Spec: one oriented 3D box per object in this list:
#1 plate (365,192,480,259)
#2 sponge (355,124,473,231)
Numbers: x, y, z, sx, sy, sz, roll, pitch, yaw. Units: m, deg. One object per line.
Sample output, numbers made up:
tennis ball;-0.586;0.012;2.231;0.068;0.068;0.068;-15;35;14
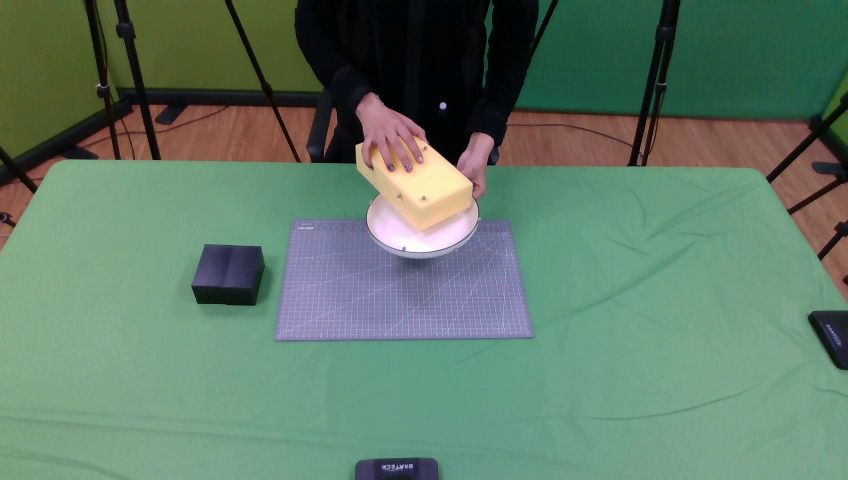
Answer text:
plate;-0.002;-0.038;1.108;0.209;0.038;0.208;-3;44;3
sponge;-0.022;-0.120;1.120;0.118;0.061;0.205;-29;56;-25
